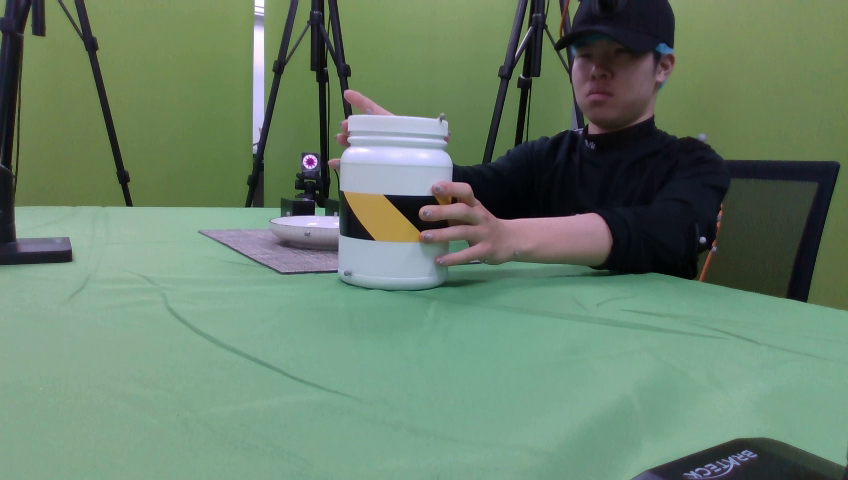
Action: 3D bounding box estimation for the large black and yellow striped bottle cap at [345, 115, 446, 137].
[{"bbox_3d":[-0.032,-0.129,0.690,0.115,0.019,0.115,4,7,0],"label":"large black and yellow striped bottle cap"}]

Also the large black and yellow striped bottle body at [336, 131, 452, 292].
[{"bbox_3d":[-0.035,-0.041,0.703,0.131,0.184,0.130,2,8,0],"label":"large black and yellow striped bottle body"}]

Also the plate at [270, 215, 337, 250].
[{"bbox_3d":[-0.145,-0.013,0.991,0.208,0.039,0.207,3,7,0],"label":"plate"}]
